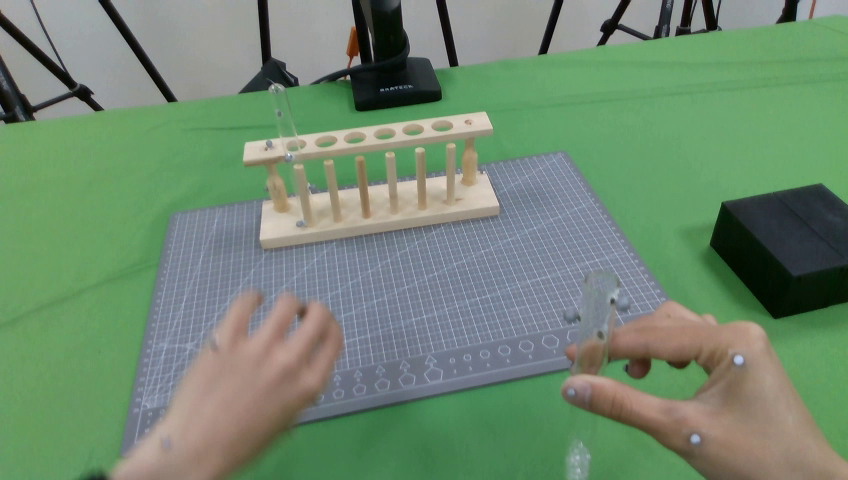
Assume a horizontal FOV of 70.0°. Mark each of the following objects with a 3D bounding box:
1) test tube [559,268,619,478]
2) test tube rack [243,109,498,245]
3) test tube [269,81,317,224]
[{"bbox_3d":[0.082,0.075,0.309,0.017,0.151,0.017,-3,37,2],"label":"test tube"},{"bbox_3d":[-0.050,-0.064,0.611,0.242,0.086,0.066,-8,41,-5],"label":"test tube rack"},{"bbox_3d":[-0.121,-0.077,0.563,0.017,0.152,0.017,-3,40,3],"label":"test tube"}]
